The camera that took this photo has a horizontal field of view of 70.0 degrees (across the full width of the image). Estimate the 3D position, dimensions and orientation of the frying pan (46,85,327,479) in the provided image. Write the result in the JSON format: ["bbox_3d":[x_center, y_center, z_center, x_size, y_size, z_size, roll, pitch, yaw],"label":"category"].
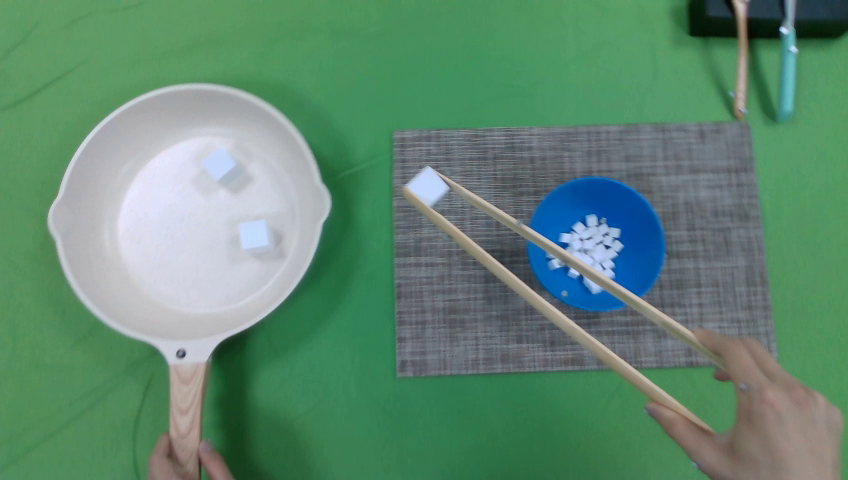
[{"bbox_3d":[-0.255,0.069,0.666,0.307,0.103,0.484,-3,72,-1],"label":"frying pan"}]

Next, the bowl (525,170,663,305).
[{"bbox_3d":[0.185,0.003,0.694,0.151,0.077,0.151,0,80,-1],"label":"bowl"}]

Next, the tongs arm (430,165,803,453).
[{"bbox_3d":[0.136,0.040,0.523,0.381,0.027,0.050,34,73,27],"label":"tongs arm"}]

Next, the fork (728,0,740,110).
[{"bbox_3d":[0.377,-0.264,0.740,0.028,0.018,0.208,-9,101,-4],"label":"fork"}]

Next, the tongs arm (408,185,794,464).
[{"bbox_3d":[0.119,0.056,0.518,0.028,0.028,0.384,-42,60,-16],"label":"tongs arm"}]

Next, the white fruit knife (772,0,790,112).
[{"bbox_3d":[0.436,-0.263,0.739,0.016,0.027,0.208,-3,97,5],"label":"white fruit knife"}]
